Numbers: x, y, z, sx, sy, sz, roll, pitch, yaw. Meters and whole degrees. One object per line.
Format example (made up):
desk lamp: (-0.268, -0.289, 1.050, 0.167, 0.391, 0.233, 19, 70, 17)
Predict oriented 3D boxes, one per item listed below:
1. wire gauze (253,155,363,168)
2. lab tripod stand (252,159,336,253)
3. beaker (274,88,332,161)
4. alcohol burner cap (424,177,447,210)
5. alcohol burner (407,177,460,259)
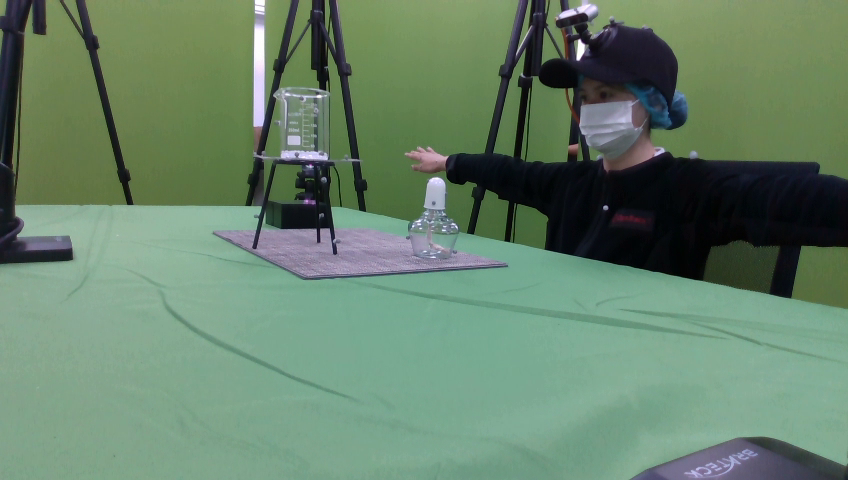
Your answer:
wire gauze: (-0.172, -0.117, 0.891, 0.122, 0.011, 0.124, 0, 3, -38)
lab tripod stand: (-0.180, -0.053, 0.900, 0.148, 0.131, 0.148, 1, 6, 0)
beaker: (-0.177, -0.165, 0.879, 0.084, 0.100, 0.074, 2, 5, 1)
alcohol burner cap: (0.018, -0.067, 0.876, 0.034, 0.048, 0.034, 4, 13, -1)
alcohol burner: (0.015, -0.032, 0.882, 0.078, 0.119, 0.078, 3, 5, 0)
